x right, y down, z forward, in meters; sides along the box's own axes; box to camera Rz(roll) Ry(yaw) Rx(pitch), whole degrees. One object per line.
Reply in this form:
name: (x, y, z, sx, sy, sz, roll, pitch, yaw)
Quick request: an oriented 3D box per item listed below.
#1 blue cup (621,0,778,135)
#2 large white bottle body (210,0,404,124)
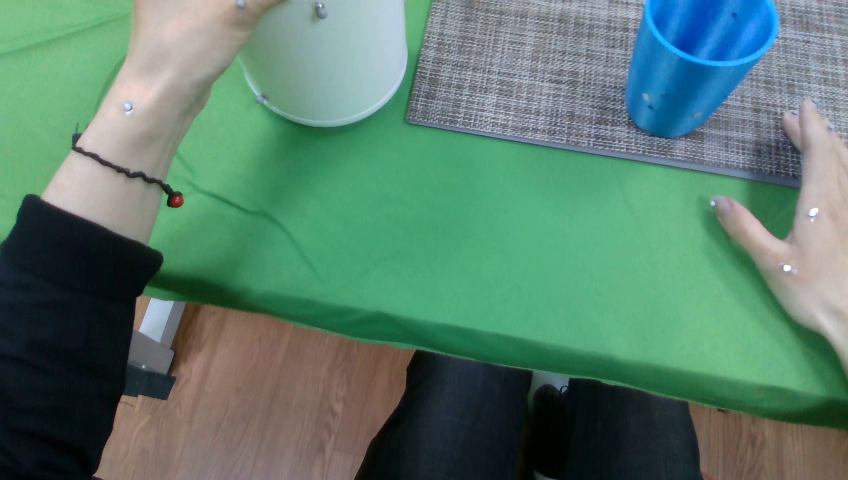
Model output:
blue cup: (0.184, -0.127, 0.433, 0.092, 0.101, 0.092, -1, 67, 2)
large white bottle body: (-0.082, -0.180, 0.412, 0.130, 0.186, 0.129, 0, 69, 1)
